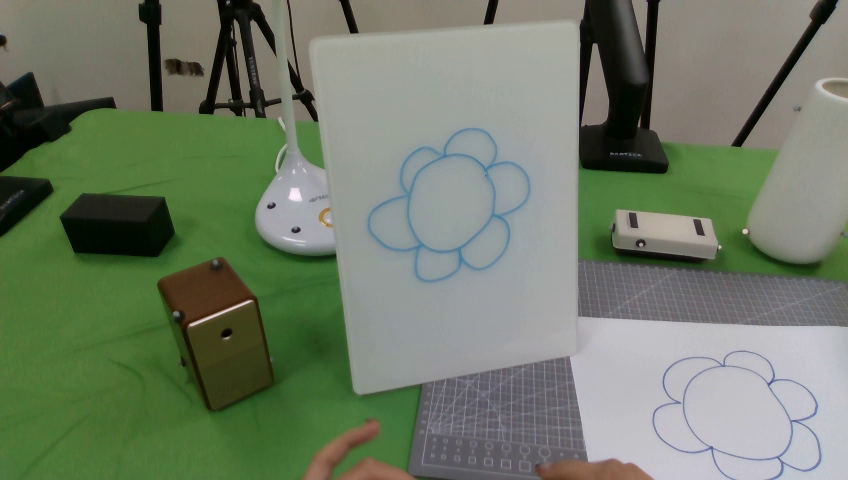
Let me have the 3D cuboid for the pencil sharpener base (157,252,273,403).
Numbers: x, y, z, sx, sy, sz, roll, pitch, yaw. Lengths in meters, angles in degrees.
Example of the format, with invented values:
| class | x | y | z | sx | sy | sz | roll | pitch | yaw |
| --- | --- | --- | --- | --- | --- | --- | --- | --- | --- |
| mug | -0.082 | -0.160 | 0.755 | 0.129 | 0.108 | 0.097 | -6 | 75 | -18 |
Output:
| class | x | y | z | sx | sy | sz | roll | pitch | yaw |
| --- | --- | --- | --- | --- | --- | --- | --- | --- | --- |
| pencil sharpener base | -0.182 | 0.075 | 0.531 | 0.061 | 0.108 | 0.076 | -24 | 43 | -28 |

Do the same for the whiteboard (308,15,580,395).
| class | x | y | z | sx | sy | sz | roll | pitch | yaw |
| --- | --- | --- | --- | --- | --- | --- | --- | --- | --- |
| whiteboard | 0.017 | -0.041 | 0.574 | 0.218 | 0.307 | 0.142 | -8 | 19 | -10 |

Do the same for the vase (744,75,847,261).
| class | x | y | z | sx | sy | sz | roll | pitch | yaw |
| --- | --- | --- | --- | --- | --- | --- | --- | --- | --- |
| vase | 0.432 | -0.074 | 0.669 | 0.098 | 0.201 | 0.097 | 1 | 37 | -1 |

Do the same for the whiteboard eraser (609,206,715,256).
| class | x | y | z | sx | sy | sz | roll | pitch | yaw |
| --- | --- | --- | --- | --- | --- | --- | --- | --- | --- |
| whiteboard eraser | 0.276 | -0.009 | 0.709 | 0.112 | 0.042 | 0.055 | 5 | 35 | 8 |

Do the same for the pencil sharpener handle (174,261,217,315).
| class | x | y | z | sx | sy | sz | roll | pitch | yaw |
| --- | --- | --- | --- | --- | --- | --- | --- | --- | --- |
| pencil sharpener handle | -0.210 | 0.040 | 0.557 | 0.036 | 0.068 | 0.030 | -30 | 46 | -23 |

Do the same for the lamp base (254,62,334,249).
| class | x | y | z | sx | sy | sz | roll | pitch | yaw |
| --- | --- | --- | --- | --- | --- | --- | --- | --- | --- |
| lamp base | -0.137 | -0.106 | 0.714 | 0.161 | 0.182 | 0.177 | -27 | 43 | -32 |

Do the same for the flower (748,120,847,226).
| class | x | y | z | sx | sy | sz | roll | pitch | yaw |
| --- | --- | --- | --- | --- | --- | --- | --- | --- | --- |
| flower | 0.441 | -0.131 | 0.607 | 0.044 | 0.364 | 0.038 | -9 | 55 | -24 |
